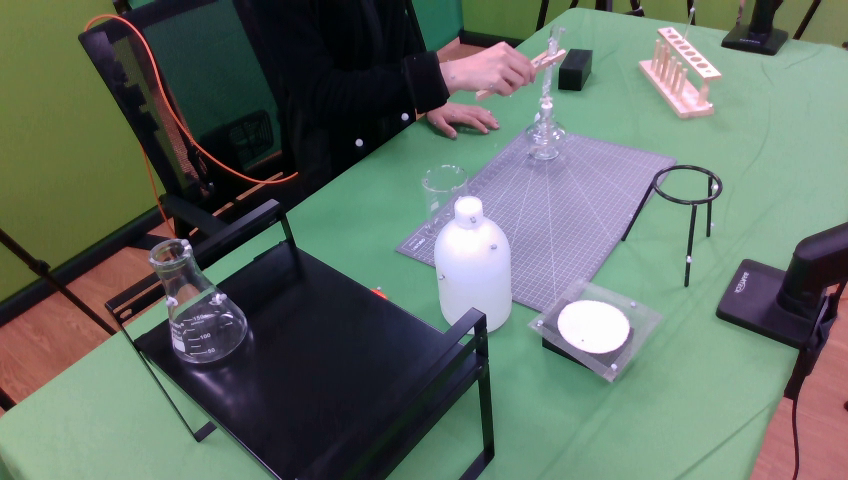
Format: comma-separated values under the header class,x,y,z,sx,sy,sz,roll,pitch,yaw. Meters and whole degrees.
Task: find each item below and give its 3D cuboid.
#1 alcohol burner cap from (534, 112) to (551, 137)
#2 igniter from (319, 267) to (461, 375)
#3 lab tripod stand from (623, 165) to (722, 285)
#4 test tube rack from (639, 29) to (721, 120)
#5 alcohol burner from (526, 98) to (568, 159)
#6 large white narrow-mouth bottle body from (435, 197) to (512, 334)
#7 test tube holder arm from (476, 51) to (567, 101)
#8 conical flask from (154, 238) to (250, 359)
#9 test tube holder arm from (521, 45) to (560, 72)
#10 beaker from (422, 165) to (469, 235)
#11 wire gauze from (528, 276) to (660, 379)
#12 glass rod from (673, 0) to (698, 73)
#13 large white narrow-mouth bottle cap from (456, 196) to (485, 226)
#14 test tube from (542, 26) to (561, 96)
class,x,y,z,sx,sy,sz,roll,pitch,yaw
alcohol burner cap,0.235,-0.231,1.197,0.034,0.048,0.033,-4,40,4
igniter,-0.060,0.108,0.862,0.274,0.025,0.057,28,62,34
lab tripod stand,0.365,-0.030,0.874,0.148,0.132,0.147,-6,41,6
test tube rack,0.527,-0.351,1.262,0.067,0.085,0.241,-8,40,1
alcohol burner,0.228,-0.210,1.118,0.078,0.119,0.077,-5,43,5
large white narrow-mouth bottle body,0.066,0.028,0.805,0.102,0.195,0.101,-4,40,4
test tube holder arm,0.157,-0.264,0.967,0.179,0.015,0.013,-30,64,-19
conical flask,-0.225,0.055,0.597,0.075,0.122,0.075,-5,41,4
test tube holder arm,0.189,-0.291,0.984,0.088,0.015,0.010,-38,68,-22
beaker,0.041,-0.063,0.986,0.073,0.101,0.084,20,47,29
wire gauze,0.214,0.103,0.763,0.124,0.011,0.122,30,53,35
glass rod,0.537,-0.425,1.244,0.008,0.200,0.008,0,47,0
large white narrow-mouth bottle cap,0.057,-0.036,0.749,0.038,0.024,0.037,-4,40,4
test tube,0.211,-0.293,1.004,0.017,0.151,0.017,-2,62,4
